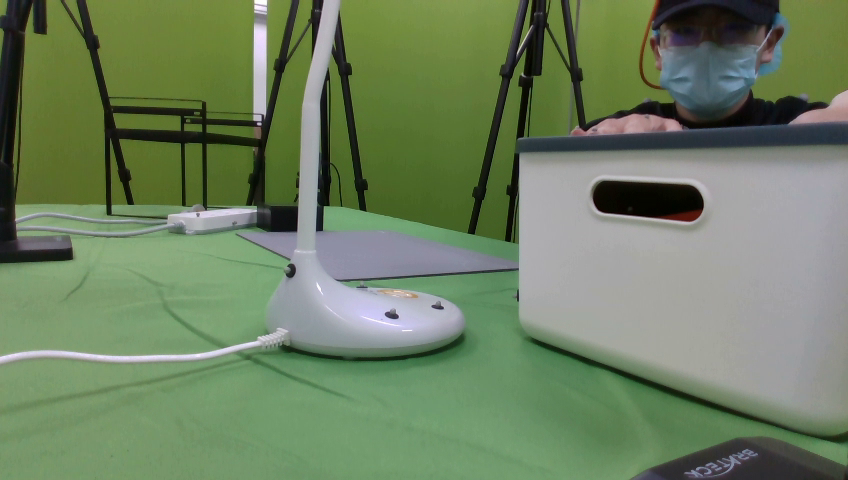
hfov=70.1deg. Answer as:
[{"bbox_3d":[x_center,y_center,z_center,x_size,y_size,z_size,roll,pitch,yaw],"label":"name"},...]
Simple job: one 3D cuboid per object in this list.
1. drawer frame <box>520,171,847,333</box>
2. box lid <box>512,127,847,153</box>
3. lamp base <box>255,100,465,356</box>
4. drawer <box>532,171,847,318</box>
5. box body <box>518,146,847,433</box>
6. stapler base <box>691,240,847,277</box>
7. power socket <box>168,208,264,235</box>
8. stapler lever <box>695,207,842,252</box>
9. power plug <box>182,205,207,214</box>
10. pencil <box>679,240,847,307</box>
[{"bbox_3d":[0.223,0.004,0.466,0.215,0.082,0.200,-11,2,-36],"label":"drawer frame"},{"bbox_3d":[0.282,-0.067,0.478,0.373,0.015,0.262,-3,9,-36],"label":"box lid"},{"bbox_3d":[-0.051,-0.014,0.466,0.160,0.180,0.180,7,11,34],"label":"lamp base"},{"bbox_3d":[0.226,0.004,0.467,0.213,0.073,0.193,-13,2,-35],"label":"drawer"},{"bbox_3d":[0.278,0.005,0.485,0.366,0.160,0.253,-3,9,-36],"label":"box body"},{"bbox_3d":[0.271,0.014,0.486,0.041,0.024,0.130,-14,3,-19],"label":"stapler base"},{"bbox_3d":[-0.381,-0.038,1.129,0.072,0.032,0.227,4,8,17],"label":"power socket"},{"bbox_3d":[0.267,-0.010,0.484,0.027,0.040,0.117,-14,2,-19],"label":"stapler lever"},{"bbox_3d":[-0.456,-0.041,1.195,0.052,0.035,0.072,0,39,24],"label":"power plug"},{"bbox_3d":[0.249,0.019,0.463,0.012,0.012,0.193,1,11,-8],"label":"pencil"}]
